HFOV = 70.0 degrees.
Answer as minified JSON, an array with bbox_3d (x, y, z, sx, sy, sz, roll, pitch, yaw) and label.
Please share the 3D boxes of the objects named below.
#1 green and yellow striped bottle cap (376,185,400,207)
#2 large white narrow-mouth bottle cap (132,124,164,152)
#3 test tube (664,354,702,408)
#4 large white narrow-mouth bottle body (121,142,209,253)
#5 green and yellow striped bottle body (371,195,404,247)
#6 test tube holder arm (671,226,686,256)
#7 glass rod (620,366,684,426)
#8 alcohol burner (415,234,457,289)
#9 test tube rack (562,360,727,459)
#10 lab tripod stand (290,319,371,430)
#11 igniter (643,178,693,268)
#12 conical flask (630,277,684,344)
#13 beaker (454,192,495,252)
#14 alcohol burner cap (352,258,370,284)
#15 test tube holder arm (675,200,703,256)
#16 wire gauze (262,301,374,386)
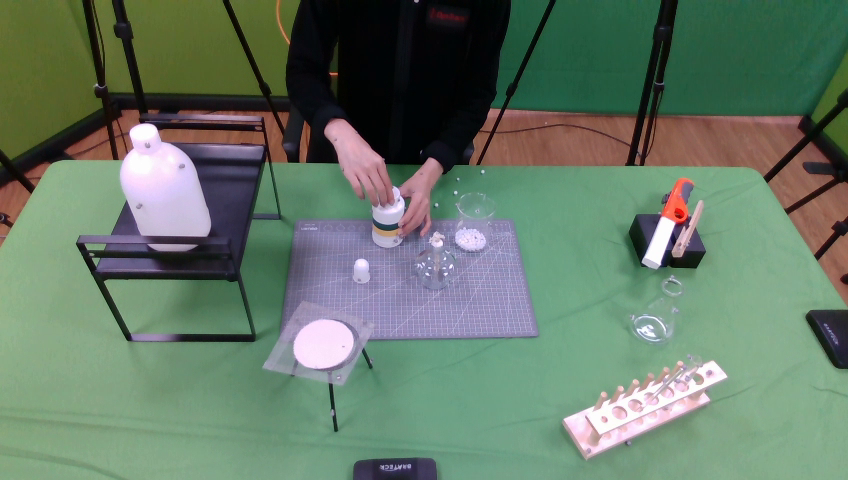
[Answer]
[{"bbox_3d":[-0.067,-0.083,1.127,0.045,0.020,0.045,1,44,-1],"label":"green and yellow striped bottle cap"},{"bbox_3d":[-0.370,-0.137,0.812,0.038,0.024,0.037,3,46,-3],"label":"large white narrow-mouth bottle cap"},{"bbox_3d":[0.385,0.215,0.906,0.017,0.151,0.017,-1,49,1],"label":"test tube"},{"bbox_3d":[-0.378,-0.077,0.875,0.102,0.195,0.101,3,46,-3],"label":"large white narrow-mouth bottle body"},{"bbox_3d":[-0.071,-0.047,1.166,0.063,0.120,0.063,2,46,-2],"label":"green and yellow striped bottle body"},{"bbox_3d":[0.494,0.001,1.167,0.010,0.015,0.087,1,36,42],"label":"test tube holder arm"},{"bbox_3d":[0.322,0.227,0.866,0.008,0.200,0.008,6,51,-7],"label":"glass rod"},{"bbox_3d":[0.022,0.033,1.099,0.078,0.120,0.077,1,47,-1],"label":"alcohol burner"},{"bbox_3d":[0.341,0.247,0.940,0.243,0.085,0.066,-16,49,-19],"label":"test tube rack"},{"bbox_3d":[-0.146,0.194,0.923,0.148,0.132,0.147,1,47,-1],"label":"lab tripod stand"},{"bbox_3d":[0.488,-0.042,1.205,0.057,0.025,0.276,30,51,11],"label":"igniter"},{"bbox_3d":[0.408,0.117,1.045,0.075,0.122,0.075,2,46,-2],"label":"conical flask"},{"bbox_3d":[0.097,-0.034,1.180,0.074,0.101,0.084,23,48,17],"label":"beaker"},{"bbox_3d":[-0.117,0.055,1.118,0.034,0.048,0.033,2,46,-1],"label":"alcohol burner cap"},{"bbox_3d":[0.523,-0.025,1.190,0.013,0.015,0.178,1,36,41],"label":"test tube holder arm"},{"bbox_3d":[-0.150,0.148,0.873,0.121,0.011,0.124,14,46,12],"label":"wire gauze"}]
